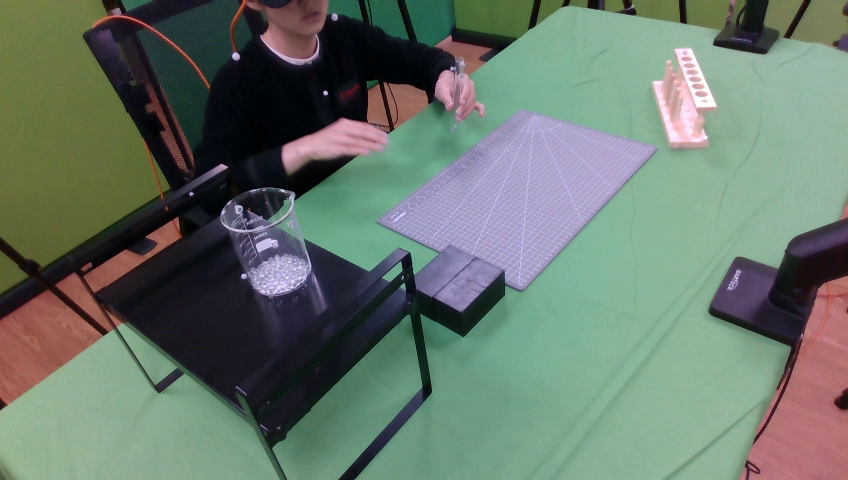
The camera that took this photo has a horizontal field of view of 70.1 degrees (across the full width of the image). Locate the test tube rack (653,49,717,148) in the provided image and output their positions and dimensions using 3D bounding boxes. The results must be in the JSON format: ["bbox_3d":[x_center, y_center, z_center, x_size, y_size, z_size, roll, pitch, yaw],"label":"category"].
[{"bbox_3d":[0.502,-0.281,1.177,0.066,0.085,0.241,1,41,10],"label":"test tube rack"}]

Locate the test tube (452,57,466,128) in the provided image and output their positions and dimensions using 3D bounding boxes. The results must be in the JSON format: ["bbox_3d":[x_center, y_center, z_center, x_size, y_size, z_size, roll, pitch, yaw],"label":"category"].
[{"bbox_3d":[0.062,-0.263,1.094,0.017,0.151,0.017,1,51,-1],"label":"test tube"}]

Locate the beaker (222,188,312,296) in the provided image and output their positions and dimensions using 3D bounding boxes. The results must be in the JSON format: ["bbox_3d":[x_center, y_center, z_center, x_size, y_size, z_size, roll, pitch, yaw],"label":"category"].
[{"bbox_3d":[-0.165,0.003,0.659,0.073,0.101,0.084,28,51,34],"label":"beaker"}]
